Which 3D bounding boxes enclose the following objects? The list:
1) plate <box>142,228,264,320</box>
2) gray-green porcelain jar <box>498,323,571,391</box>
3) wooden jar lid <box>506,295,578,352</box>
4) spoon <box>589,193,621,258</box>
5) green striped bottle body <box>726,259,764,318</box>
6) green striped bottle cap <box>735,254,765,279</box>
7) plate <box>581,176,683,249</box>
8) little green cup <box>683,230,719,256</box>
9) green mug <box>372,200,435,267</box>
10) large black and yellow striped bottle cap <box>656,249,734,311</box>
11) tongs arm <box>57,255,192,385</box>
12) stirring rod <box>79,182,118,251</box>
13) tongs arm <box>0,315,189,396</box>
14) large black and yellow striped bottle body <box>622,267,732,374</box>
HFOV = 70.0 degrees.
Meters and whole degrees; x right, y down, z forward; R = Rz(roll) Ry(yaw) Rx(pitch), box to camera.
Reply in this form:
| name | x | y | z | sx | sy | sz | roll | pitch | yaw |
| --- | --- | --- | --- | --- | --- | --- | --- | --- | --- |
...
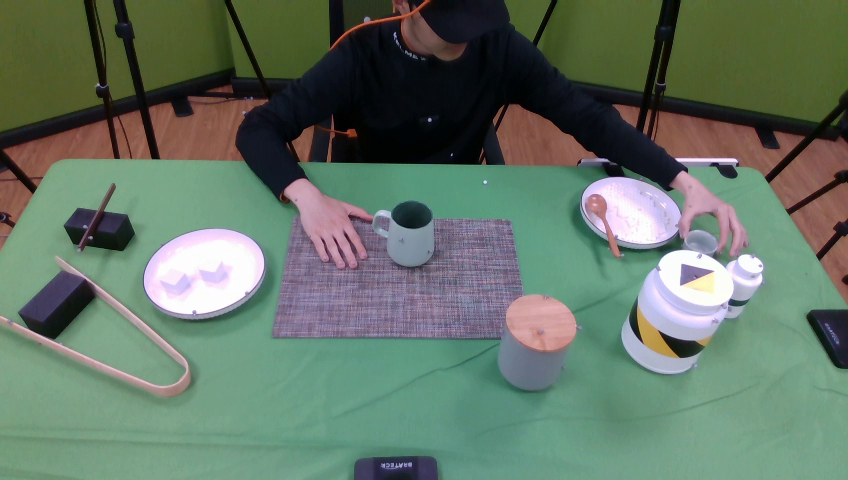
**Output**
| name | x | y | z | sx | sy | sz | roll | pitch | yaw |
| --- | --- | --- | --- | --- | --- | --- | --- | --- | --- |
| plate | -0.394 | 0.064 | 1.095 | 0.208 | 0.039 | 0.206 | 2 | 46 | -2 |
| gray-green porcelain jar | 0.176 | 0.172 | 0.971 | 0.106 | 0.127 | 0.105 | 2 | 46 | -2 |
| wooden jar lid | 0.179 | 0.130 | 0.926 | 0.108 | 0.021 | 0.107 | 2 | 43 | -2 |
| spoon | 0.368 | -0.032 | 1.220 | 0.041 | 0.022 | 0.192 | 1 | 38 | -1 |
| green striped bottle body | 0.563 | 0.081 | 1.089 | 0.063 | 0.120 | 0.063 | 2 | 46 | -2 |
| green striped bottle cap | 0.566 | 0.046 | 1.051 | 0.044 | 0.020 | 0.044 | 0 | 45 | 0 |
| plate | 0.430 | -0.054 | 1.267 | 0.209 | 0.038 | 0.208 | 2 | 46 | -2 |
| little green cup | 0.531 | 0.014 | 1.167 | 0.061 | 0.039 | 0.061 | 0 | 47 | 0 |
| green mug | -0.040 | -0.016 | 1.146 | 0.125 | 0.105 | 0.092 | 17 | 48 | 13 |
| large black and yellow striped bottle cap | 0.419 | 0.061 | 0.938 | 0.115 | 0.019 | 0.114 | 2 | 47 | -2 |
| tongs arm | -0.517 | 0.126 | 1.033 | 0.386 | 0.028 | 0.028 | 30 | 43 | 23 |
| stirring rod | -0.605 | -0.047 | 1.130 | 0.006 | 0.014 | 0.175 | 0 | 47 | 1 |
| tongs arm | -0.555 | 0.170 | 0.981 | 0.384 | 0.026 | 0.050 | 21 | 43 | 14 |
| large black and yellow striped bottle body | 0.415 | 0.119 | 0.997 | 0.131 | 0.185 | 0.130 | 2 | 46 | -2 |
